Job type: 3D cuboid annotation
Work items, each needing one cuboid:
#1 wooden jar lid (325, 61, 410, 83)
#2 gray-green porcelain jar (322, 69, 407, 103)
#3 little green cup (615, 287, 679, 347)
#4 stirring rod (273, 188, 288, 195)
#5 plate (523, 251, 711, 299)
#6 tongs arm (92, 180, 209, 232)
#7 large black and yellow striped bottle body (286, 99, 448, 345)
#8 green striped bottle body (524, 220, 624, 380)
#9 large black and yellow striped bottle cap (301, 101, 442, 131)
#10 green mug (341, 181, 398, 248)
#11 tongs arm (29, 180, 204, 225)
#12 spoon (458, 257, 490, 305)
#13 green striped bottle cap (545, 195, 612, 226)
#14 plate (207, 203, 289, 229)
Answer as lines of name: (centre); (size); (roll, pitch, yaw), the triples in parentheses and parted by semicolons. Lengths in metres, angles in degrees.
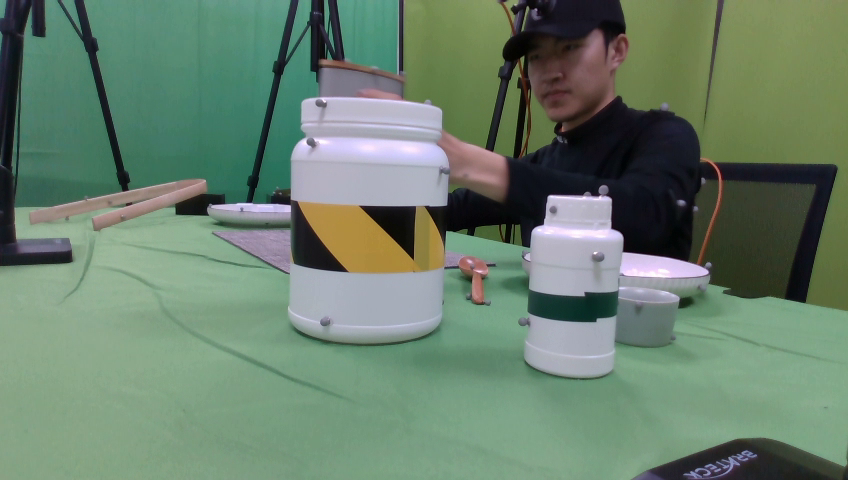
wooden jar lid: (-0.073, -0.207, 0.771); (0.108, 0.020, 0.108); (11, 10, -2)
gray-green porcelain jar: (-0.081, -0.145, 0.779); (0.106, 0.126, 0.106); (8, 7, -1)
little green cup: (0.180, 0.064, 0.506); (0.061, 0.038, 0.061); (1, 8, 0)
stirring rod: (-0.354, -0.122, 1.518); (0.006, 0.014, 0.176); (2, 7, 1)
plate: (0.219, 0.041, 0.706); (0.209, 0.038, 0.209); (2, 7, 0)
tongs arm: (-0.534, -0.076, 1.222); (0.028, 0.028, 0.388); (-2, 15, 12)
large black and yellow striped bottle body: (-0.047, -0.018, 0.501); (0.131, 0.184, 0.130); (2, 7, 0)
green striped bottle body: (0.104, 0.031, 0.422); (0.063, 0.119, 0.063); (2, 8, 0)
large black and yellow striped bottle cap: (-0.042, -0.100, 0.491); (0.115, 0.019, 0.115); (1, 8, 0)
green mug: (-0.090, -0.044, 0.996); (0.093, 0.105, 0.125); (0, 7, -10)
tongs arm: (-0.609, -0.083, 1.245); (0.050, 0.026, 0.386); (5, 16, 23)
spoon: (0.059, 0.044, 0.695); (0.041, 0.021, 0.194); (16, 7, 1)
green striped bottle cap: (0.106, -0.020, 0.414); (0.044, 0.020, 0.044); (2, 4, 0)
plate: (-0.342, -0.050, 1.259); (0.208, 0.039, 0.207); (3, 7, 0)
